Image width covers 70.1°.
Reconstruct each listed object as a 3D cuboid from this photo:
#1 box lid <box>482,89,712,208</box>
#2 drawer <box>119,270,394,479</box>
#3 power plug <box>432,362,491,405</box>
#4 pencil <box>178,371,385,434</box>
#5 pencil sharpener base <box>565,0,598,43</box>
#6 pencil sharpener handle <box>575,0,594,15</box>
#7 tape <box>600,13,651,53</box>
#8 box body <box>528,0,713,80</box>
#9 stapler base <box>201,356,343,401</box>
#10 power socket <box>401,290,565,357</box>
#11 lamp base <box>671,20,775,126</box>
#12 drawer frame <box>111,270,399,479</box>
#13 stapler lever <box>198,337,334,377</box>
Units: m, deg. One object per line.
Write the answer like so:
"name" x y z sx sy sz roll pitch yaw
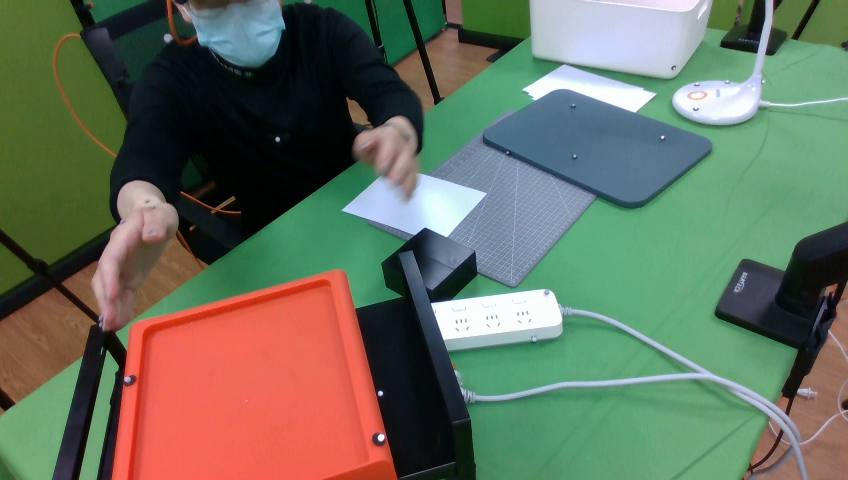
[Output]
"box lid" 0.320 -0.190 1.156 0.264 0.015 0.368 -33 47 -28
"drawer" -0.141 0.139 0.509 0.195 0.073 0.210 -14 41 -8
"power plug" 0.044 0.182 0.759 0.073 0.035 0.052 23 42 -19
"pencil" -0.128 0.141 0.534 0.194 0.012 0.012 14 44 7
"pencil sharpener base" 0.388 -0.551 1.484 0.061 0.107 0.077 13 44 23
"pencil sharpener handle" 0.401 -0.594 1.511 0.036 0.067 0.030 35 49 0
"tape" 0.484 -0.498 1.451 0.117 0.053 0.116 -4 41 4
"box body" 0.451 -0.513 1.398 0.361 0.161 0.254 19 47 28
"stapler base" -0.142 0.124 0.556 0.130 0.024 0.041 -2 43 3
"power socket" 0.080 0.113 0.821 0.227 0.033 0.072 -6 41 0
"lamp base" 0.582 -0.332 1.153 0.179 0.181 0.160 2 41 7
"drawer frame" -0.140 0.140 0.506 0.202 0.083 0.212 -15 41 -9
"stapler lever" -0.142 0.105 0.541 0.118 0.040 0.026 -3 43 4
